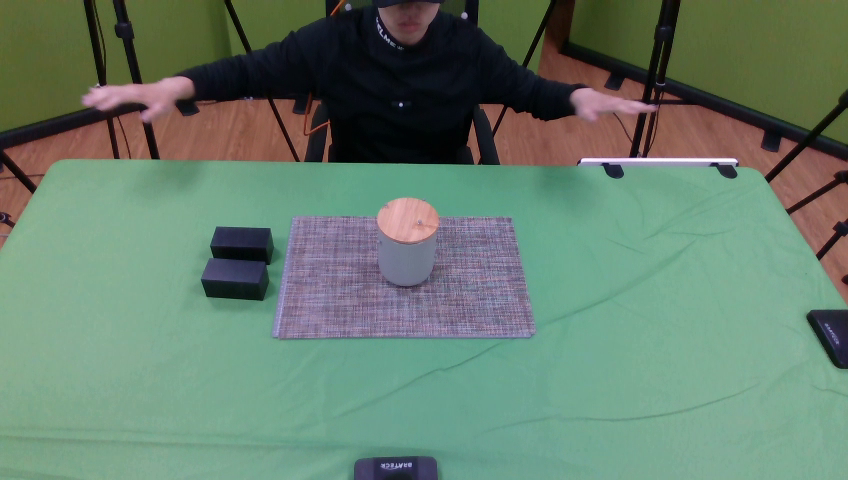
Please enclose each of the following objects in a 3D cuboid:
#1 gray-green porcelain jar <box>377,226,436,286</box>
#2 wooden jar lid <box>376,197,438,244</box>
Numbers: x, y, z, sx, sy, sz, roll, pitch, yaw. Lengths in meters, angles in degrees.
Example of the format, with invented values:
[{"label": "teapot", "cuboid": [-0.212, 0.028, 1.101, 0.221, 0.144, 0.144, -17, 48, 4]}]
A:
[{"label": "gray-green porcelain jar", "cuboid": [-0.033, 0.014, 1.105, 0.106, 0.127, 0.105, 2, 46, -2]}, {"label": "wooden jar lid", "cuboid": [-0.029, -0.031, 1.060, 0.108, 0.021, 0.107, 2, 47, -2]}]
